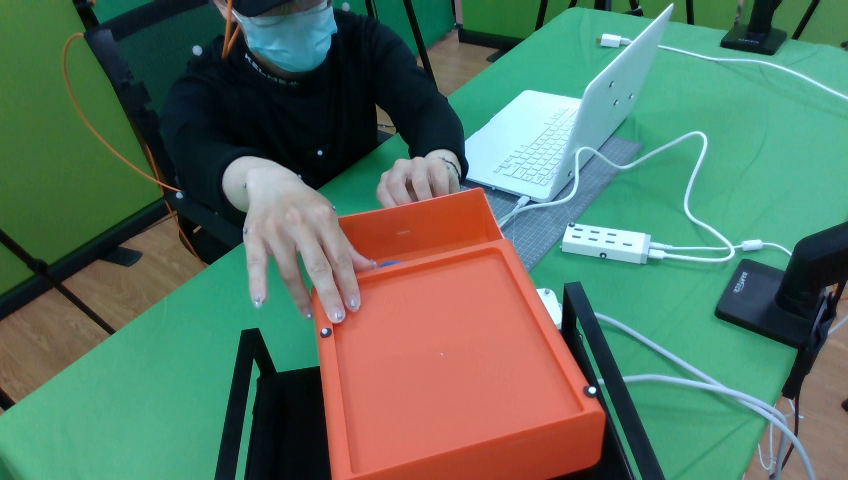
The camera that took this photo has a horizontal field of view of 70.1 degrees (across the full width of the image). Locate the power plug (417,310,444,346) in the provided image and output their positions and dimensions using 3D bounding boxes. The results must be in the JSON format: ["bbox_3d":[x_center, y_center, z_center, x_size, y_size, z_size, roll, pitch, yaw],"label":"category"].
[{"bbox_3d":[0.007,0.123,0.786,0.035,0.053,0.072,0,40,9],"label":"power plug"}]

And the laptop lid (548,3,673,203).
[{"bbox_3d":[0.320,-0.235,1.026,0.013,0.242,0.357,31,50,20],"label":"laptop lid"}]

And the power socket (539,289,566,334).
[{"bbox_3d":[0.081,0.111,0.822,0.227,0.033,0.072,-6,41,0],"label":"power socket"}]

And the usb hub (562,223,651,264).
[{"bbox_3d":[0.279,0.004,0.926,0.124,0.025,0.049,10,43,19],"label":"usb hub"}]

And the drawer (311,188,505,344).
[{"bbox_3d":[-0.005,0.048,0.598,0.195,0.073,0.210,-11,39,-6],"label":"drawer"}]

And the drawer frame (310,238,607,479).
[{"bbox_3d":[0.016,0.107,0.519,0.202,0.083,0.212,-13,40,-7],"label":"drawer frame"}]

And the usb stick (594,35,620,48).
[{"bbox_3d":[0.443,-0.482,1.466,0.059,0.021,0.027,10,43,10],"label":"usb stick"}]

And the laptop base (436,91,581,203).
[{"bbox_3d":[0.215,-0.193,1.172,0.233,0.023,0.355,19,46,32],"label":"laptop base"}]

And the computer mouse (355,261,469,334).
[{"bbox_3d":[-0.015,0.052,0.616,0.116,0.041,0.063,14,45,33],"label":"computer mouse"}]
